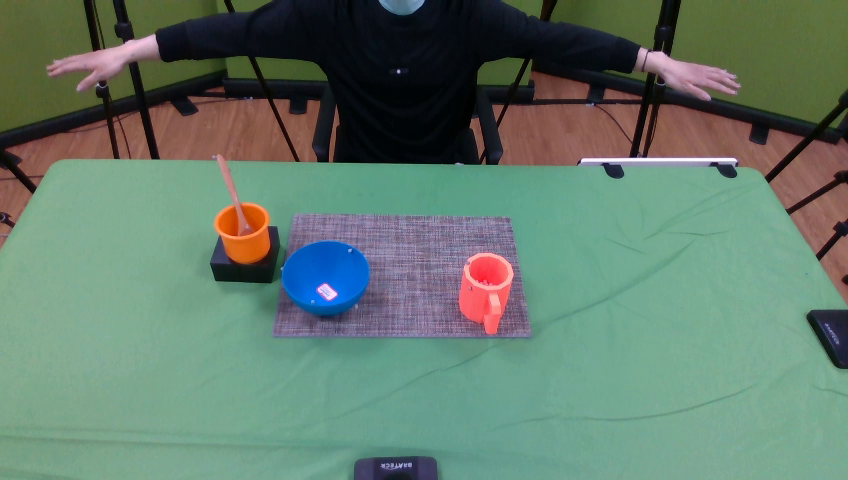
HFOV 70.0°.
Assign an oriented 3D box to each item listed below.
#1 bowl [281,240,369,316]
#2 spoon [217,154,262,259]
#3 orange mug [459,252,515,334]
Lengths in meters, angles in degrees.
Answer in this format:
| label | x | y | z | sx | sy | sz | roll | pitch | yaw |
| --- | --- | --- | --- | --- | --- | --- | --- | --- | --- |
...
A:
| label | x | y | z | sx | sy | sz | roll | pitch | yaw |
| --- | --- | --- | --- | --- | --- | --- | --- | --- | --- |
| bowl | -0.170 | 0.080 | 1.062 | 0.151 | 0.077 | 0.150 | 2 | 46 | -2 |
| spoon | -0.330 | -0.060 | 1.073 | 0.042 | 0.194 | 0.021 | -18 | 6 | -21 |
| orange mug | 0.111 | 0.096 | 1.052 | 0.083 | 0.101 | 0.125 | -4 | 42 | -7 |
